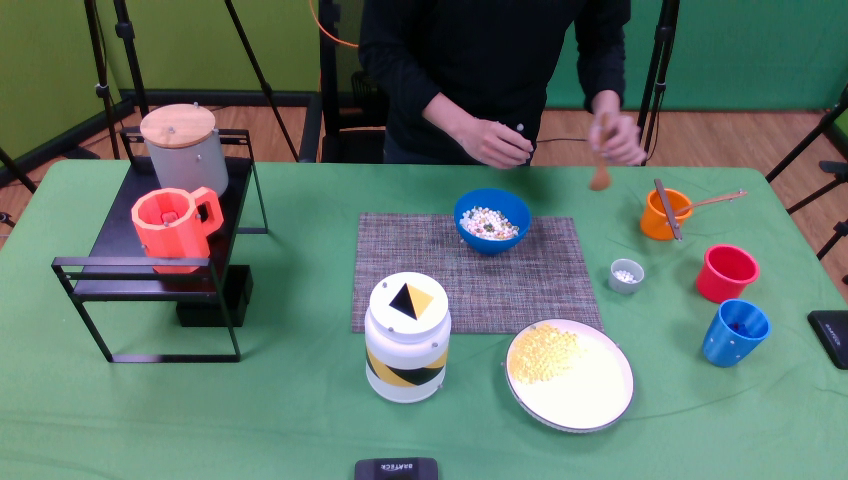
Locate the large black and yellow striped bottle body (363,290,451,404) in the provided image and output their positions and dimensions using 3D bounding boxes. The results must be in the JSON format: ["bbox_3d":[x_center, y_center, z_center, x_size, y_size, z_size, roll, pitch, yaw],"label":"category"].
[{"bbox_3d":[-0.027,0.153,0.935,0.131,0.185,0.130,2,46,-2],"label":"large black and yellow striped bottle body"}]

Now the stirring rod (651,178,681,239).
[{"bbox_3d":[0.480,-0.065,1.204,0.014,0.006,0.175,3,46,-3],"label":"stirring rod"}]

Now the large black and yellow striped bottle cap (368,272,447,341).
[{"bbox_3d":[-0.023,0.093,0.875,0.115,0.019,0.114,3,46,-3],"label":"large black and yellow striped bottle cap"}]

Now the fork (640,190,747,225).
[{"bbox_3d":[0.533,-0.064,1.211,0.207,0.019,0.028,-22,28,38],"label":"fork"}]

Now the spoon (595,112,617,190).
[{"bbox_3d":[0.321,-0.150,1.059,0.041,0.195,0.021,-12,49,4],"label":"spoon"}]

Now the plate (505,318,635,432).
[{"bbox_3d":[0.235,0.221,0.991,0.209,0.038,0.208,2,46,-2],"label":"plate"}]

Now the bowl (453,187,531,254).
[{"bbox_3d":[0.128,-0.025,1.187,0.151,0.077,0.150,2,46,-2],"label":"bowl"}]

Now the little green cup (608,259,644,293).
[{"bbox_3d":[0.379,0.070,1.147,0.061,0.039,0.061,3,45,-2],"label":"little green cup"}]

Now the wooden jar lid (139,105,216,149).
[{"bbox_3d":[-0.372,-0.169,0.920,0.108,0.021,0.107,4,44,-4],"label":"wooden jar lid"}]

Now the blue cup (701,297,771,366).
[{"bbox_3d":[0.519,0.162,1.025,0.093,0.101,0.092,3,45,-3],"label":"blue cup"}]

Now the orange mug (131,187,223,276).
[{"bbox_3d":[-0.354,-0.022,0.888,0.083,0.101,0.126,31,56,24],"label":"orange mug"}]

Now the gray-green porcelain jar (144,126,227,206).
[{"bbox_3d":[-0.375,-0.126,0.967,0.106,0.127,0.105,2,46,-2],"label":"gray-green porcelain jar"}]
